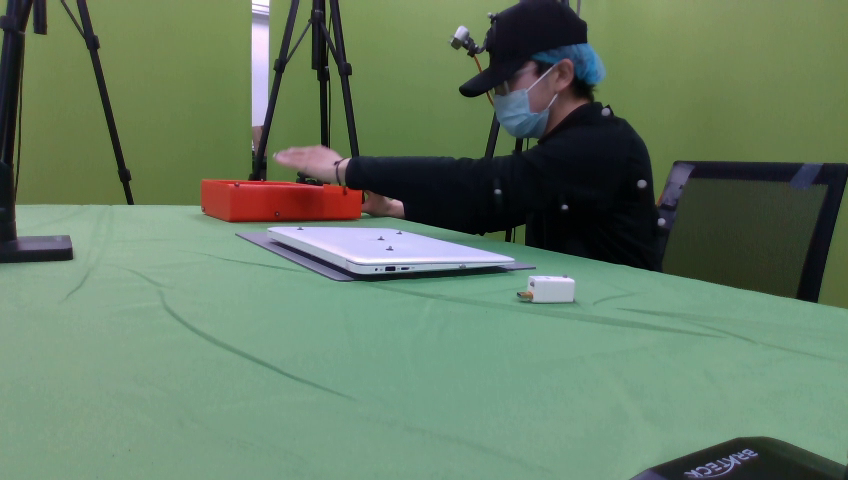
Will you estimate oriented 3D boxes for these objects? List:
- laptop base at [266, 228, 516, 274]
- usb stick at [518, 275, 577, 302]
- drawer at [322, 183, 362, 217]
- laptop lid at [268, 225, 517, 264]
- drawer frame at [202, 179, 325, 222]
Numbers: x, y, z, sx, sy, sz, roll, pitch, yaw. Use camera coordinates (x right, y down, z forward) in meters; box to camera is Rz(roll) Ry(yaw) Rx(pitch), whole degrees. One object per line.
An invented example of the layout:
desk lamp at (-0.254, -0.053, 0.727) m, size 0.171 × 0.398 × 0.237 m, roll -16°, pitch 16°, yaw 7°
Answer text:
laptop base at (-0.065, 0.014, 0.877) m, size 0.237 × 0.023 × 0.352 m, roll 2°, pitch 6°, yaw -32°
usb stick at (0.127, 0.050, 0.626) m, size 0.059 × 0.027 × 0.021 m, roll -2°, pitch 10°, yaw -12°
drawer at (-0.283, -0.095, 1.417) m, size 0.213 × 0.073 × 0.193 m, roll -4°, pitch 11°, yaw -37°
laptop lid at (-0.063, 0.002, 0.877) m, size 0.243 × 0.013 × 0.355 m, roll 1°, pitch 7°, yaw -30°
drawer frame at (-0.361, -0.092, 1.356) m, size 0.215 × 0.082 × 0.200 m, roll -4°, pitch 10°, yaw -37°
